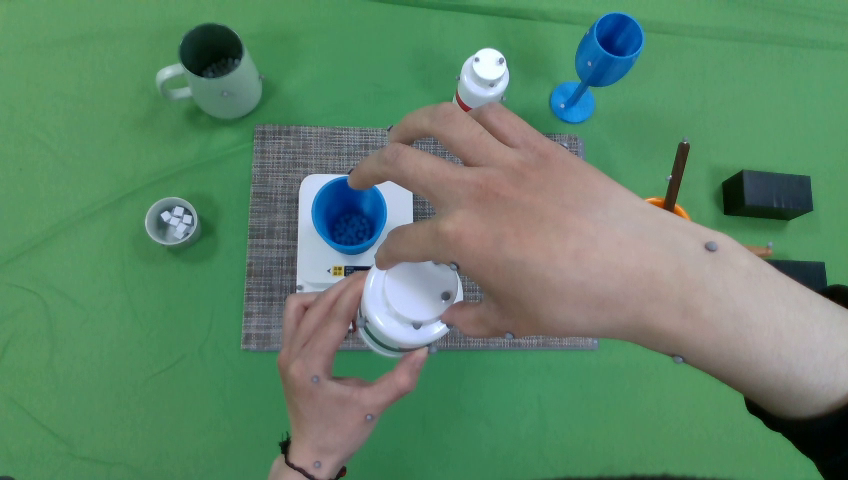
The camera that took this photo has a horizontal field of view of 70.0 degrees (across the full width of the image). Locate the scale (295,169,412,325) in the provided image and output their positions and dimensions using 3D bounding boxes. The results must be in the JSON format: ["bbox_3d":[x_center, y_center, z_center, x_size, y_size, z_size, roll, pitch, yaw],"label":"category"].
[{"bbox_3d":[-0.089,0.007,0.778,0.149,0.031,0.200,0,78,-6],"label":"scale"}]

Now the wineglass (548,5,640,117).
[{"bbox_3d":[0.217,-0.228,0.795,0.074,0.173,0.073,1,76,-5],"label":"wineglass"}]

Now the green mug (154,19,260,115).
[{"bbox_3d":[-0.279,-0.213,0.775,0.125,0.105,0.092,-21,80,-10],"label":"green mug"}]

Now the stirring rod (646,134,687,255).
[{"bbox_3d":[0.310,-0.053,0.777,0.014,0.177,0.006,6,35,9],"label":"stirring rod"}]

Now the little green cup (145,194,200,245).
[{"bbox_3d":[-0.313,-0.023,0.761,0.062,0.039,0.061,2,76,-7],"label":"little green cup"}]

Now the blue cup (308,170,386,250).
[{"bbox_3d":[-0.089,-0.027,0.718,0.093,0.100,0.092,1,79,-6],"label":"blue cup"}]

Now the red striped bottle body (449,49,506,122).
[{"bbox_3d":[0.071,-0.209,0.803,0.063,0.120,0.062,1,77,-6],"label":"red striped bottle body"}]

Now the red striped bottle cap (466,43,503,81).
[{"bbox_3d":[0.076,-0.221,0.750,0.044,0.018,0.044,2,74,-5],"label":"red striped bottle cap"}]

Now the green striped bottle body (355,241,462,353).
[{"bbox_3d":[-0.012,0.040,0.406,0.063,0.119,0.063,3,74,-9],"label":"green striped bottle body"}]

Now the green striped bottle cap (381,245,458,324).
[{"bbox_3d":[-0.003,0.026,0.351,0.044,0.020,0.044,2,75,-6],"label":"green striped bottle cap"}]

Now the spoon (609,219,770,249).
[{"bbox_3d":[0.329,-0.002,0.767,0.022,0.192,0.041,22,79,-45],"label":"spoon"}]
